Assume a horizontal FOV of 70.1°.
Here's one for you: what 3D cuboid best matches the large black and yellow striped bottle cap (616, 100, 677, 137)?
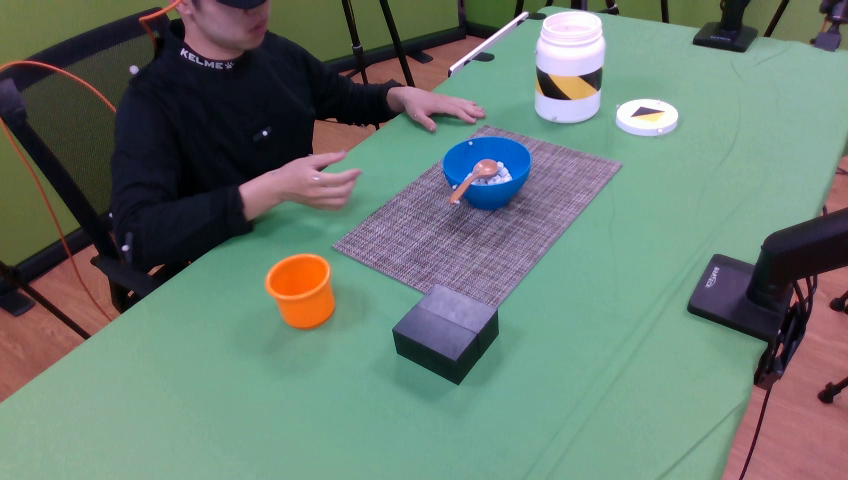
[{"bbox_3d":[0.438,-0.241,1.190,0.115,0.019,0.114,-4,42,4],"label":"large black and yellow striped bottle cap"}]

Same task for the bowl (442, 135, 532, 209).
[{"bbox_3d":[0.108,-0.106,1.026,0.151,0.077,0.150,-4,41,4],"label":"bowl"}]

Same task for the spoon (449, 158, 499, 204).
[{"bbox_3d":[0.076,-0.096,0.967,0.041,0.021,0.194,14,27,20],"label":"spoon"}]

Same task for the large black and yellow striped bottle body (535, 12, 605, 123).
[{"bbox_3d":[0.287,-0.341,1.197,0.131,0.185,0.130,-4,41,4],"label":"large black and yellow striped bottle body"}]
